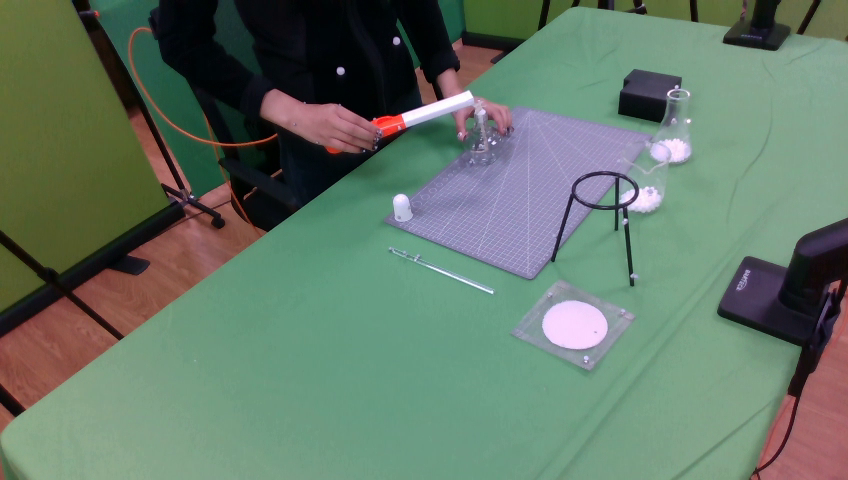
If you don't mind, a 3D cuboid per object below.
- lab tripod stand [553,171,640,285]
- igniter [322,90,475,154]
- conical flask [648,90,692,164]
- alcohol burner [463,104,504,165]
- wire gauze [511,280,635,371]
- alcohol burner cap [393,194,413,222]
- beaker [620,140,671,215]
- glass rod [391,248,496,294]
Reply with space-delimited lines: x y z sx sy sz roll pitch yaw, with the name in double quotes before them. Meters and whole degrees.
"lab tripod stand" 0.260 -0.025 0.877 0.148 0.132 0.147 -6 38 5
"igniter" -0.047 -0.206 1.061 0.277 0.025 0.057 -19 42 1
"conical flask" 0.437 -0.199 1.057 0.075 0.122 0.075 -5 40 5
"alcohol burner" 0.109 -0.201 1.126 0.078 0.119 0.077 -5 42 5
"wire gauze" 0.203 0.114 0.822 0.120 0.011 0.125 25 52 35
"alcohol burner cap" -0.038 -0.057 1.038 0.034 0.048 0.033 -6 41 5
"beaker" 0.352 -0.096 0.971 0.074 0.101 0.084 1 42 13
"glass rod" 0.026 0.045 0.937 0.198 0.008 0.008 21 49 31
